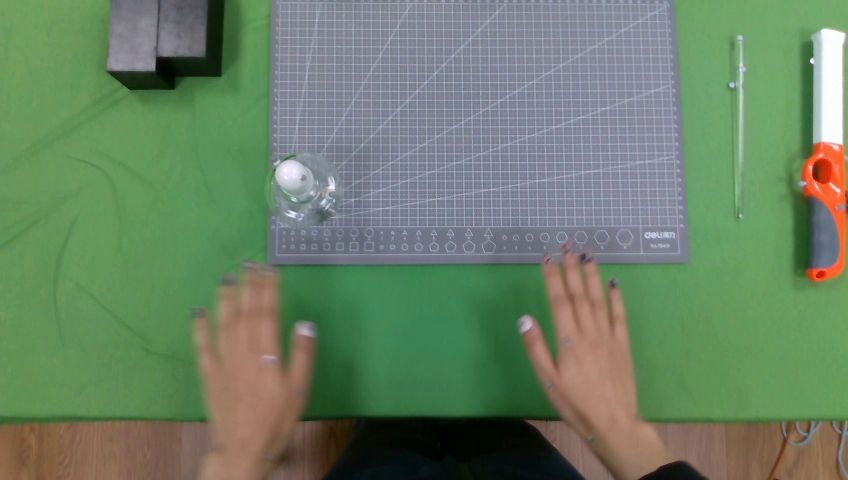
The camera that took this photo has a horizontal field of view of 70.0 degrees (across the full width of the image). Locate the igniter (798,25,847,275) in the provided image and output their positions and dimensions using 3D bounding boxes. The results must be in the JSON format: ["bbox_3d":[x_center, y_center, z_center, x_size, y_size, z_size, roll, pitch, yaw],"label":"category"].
[{"bbox_3d":[0.433,-0.098,0.657,0.057,0.025,0.276,6,84,-11],"label":"igniter"}]

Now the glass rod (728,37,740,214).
[{"bbox_3d":[0.342,-0.127,0.668,0.008,0.008,0.199,3,87,-1],"label":"glass rod"}]

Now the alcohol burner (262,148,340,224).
[{"bbox_3d":[-0.125,-0.056,0.595,0.078,0.119,0.077,0,83,1],"label":"alcohol burner"}]

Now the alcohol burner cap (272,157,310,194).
[{"bbox_3d":[-0.124,-0.062,0.559,0.034,0.048,0.034,0,87,-4],"label":"alcohol burner cap"}]
